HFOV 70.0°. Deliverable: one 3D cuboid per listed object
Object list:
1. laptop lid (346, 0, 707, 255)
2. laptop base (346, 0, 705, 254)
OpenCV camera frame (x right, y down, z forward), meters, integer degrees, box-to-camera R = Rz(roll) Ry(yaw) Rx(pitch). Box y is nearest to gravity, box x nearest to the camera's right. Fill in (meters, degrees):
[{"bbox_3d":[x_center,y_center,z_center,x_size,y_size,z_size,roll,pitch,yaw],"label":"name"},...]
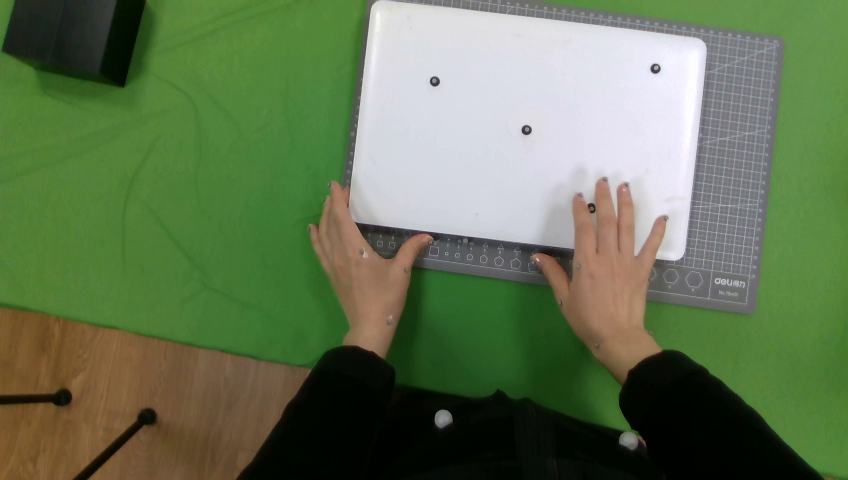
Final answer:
[{"bbox_3d":[0.106,-0.119,0.625,0.357,0.013,0.241,8,91,0],"label":"laptop lid"},{"bbox_3d":[0.106,-0.121,0.637,0.354,0.023,0.235,7,91,0],"label":"laptop base"}]
